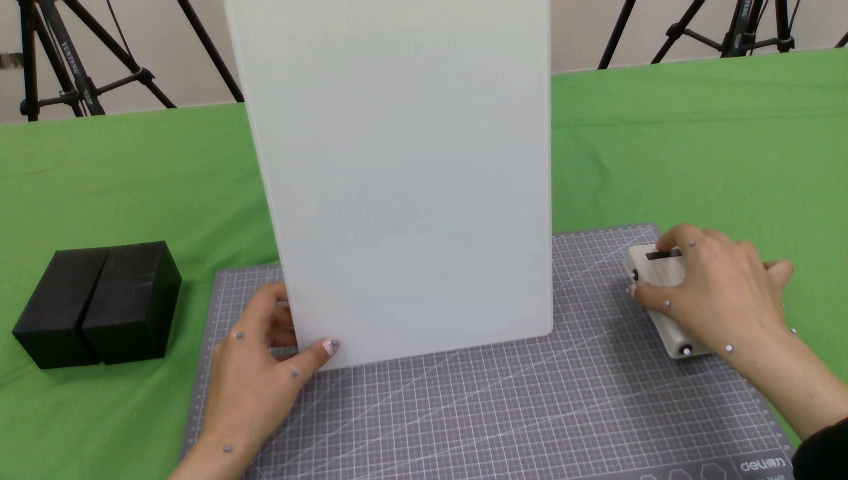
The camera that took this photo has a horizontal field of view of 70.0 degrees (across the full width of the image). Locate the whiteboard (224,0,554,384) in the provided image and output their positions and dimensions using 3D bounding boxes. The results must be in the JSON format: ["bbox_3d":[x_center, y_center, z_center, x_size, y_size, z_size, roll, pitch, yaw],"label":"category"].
[{"bbox_3d":[-0.016,-0.060,0.515,0.217,0.307,0.142,-7,23,-4],"label":"whiteboard"}]

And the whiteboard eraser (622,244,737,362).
[{"bbox_3d":[0.217,0.054,0.525,0.055,0.042,0.111,-6,43,-4],"label":"whiteboard eraser"}]
